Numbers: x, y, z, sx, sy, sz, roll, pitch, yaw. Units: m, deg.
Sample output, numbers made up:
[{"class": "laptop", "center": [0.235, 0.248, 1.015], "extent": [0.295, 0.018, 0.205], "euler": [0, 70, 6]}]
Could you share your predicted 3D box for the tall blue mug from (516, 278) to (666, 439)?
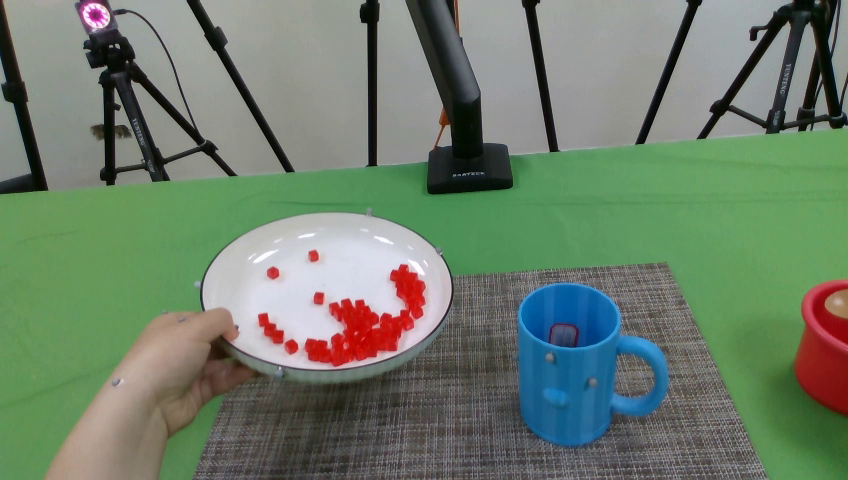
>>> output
[{"class": "tall blue mug", "center": [0.129, 0.094, 0.488], "extent": [0.107, 0.109, 0.077], "euler": [-8, 35, -1]}]

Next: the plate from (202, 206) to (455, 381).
[{"class": "plate", "center": [-0.078, 0.043, 0.517], "extent": [0.208, 0.039, 0.205], "euler": [4, 37, -3]}]

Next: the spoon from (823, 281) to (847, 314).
[{"class": "spoon", "center": [0.357, 0.028, 0.397], "extent": [0.041, 0.194, 0.021], "euler": [-37, 90, -22]}]
